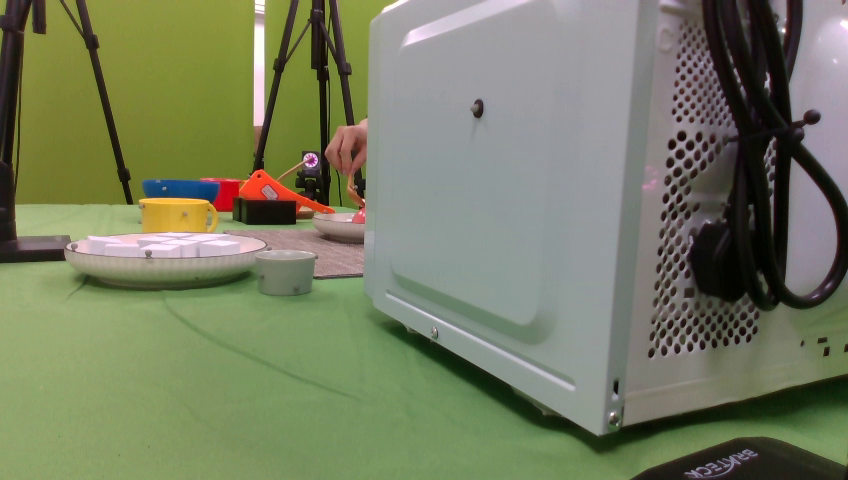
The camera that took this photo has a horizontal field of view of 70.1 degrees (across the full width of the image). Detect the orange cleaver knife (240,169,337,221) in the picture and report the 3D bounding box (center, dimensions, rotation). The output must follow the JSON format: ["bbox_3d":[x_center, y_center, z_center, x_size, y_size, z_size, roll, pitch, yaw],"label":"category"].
[{"bbox_3d":[-0.287,-0.081,1.298,0.212,0.077,0.012,25,-3,-31],"label":"orange cleaver knife"}]

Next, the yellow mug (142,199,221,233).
[{"bbox_3d":[-0.373,-0.030,0.948,0.099,0.064,0.131,6,7,30],"label":"yellow mug"}]

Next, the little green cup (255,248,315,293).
[{"bbox_3d":[-0.144,0.031,0.627,0.061,0.038,0.061,2,6,0],"label":"little green cup"}]

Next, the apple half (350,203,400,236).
[{"bbox_3d":[-0.081,-0.036,1.024,0.081,0.053,0.074,-2,10,-34],"label":"apple half"}]

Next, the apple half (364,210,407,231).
[{"bbox_3d":[-0.068,-0.037,1.103,0.081,0.033,0.081,-1,9,0],"label":"apple half"}]

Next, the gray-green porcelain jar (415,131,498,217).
[{"bbox_3d":[0.062,-0.112,1.073,0.106,0.126,0.106,-35,13,10],"label":"gray-green porcelain jar"}]

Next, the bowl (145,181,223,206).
[{"bbox_3d":[-0.499,-0.081,1.261,0.151,0.077,0.151,2,8,0],"label":"bowl"}]

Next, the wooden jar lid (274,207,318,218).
[{"bbox_3d":[-0.303,-0.065,1.409,0.108,0.020,0.108,3,9,0],"label":"wooden jar lid"}]

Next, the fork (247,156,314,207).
[{"bbox_3d":[-0.360,-0.147,1.523,0.207,0.018,0.028,-43,16,-7],"label":"fork"}]

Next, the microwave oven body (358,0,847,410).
[{"bbox_3d":[0.210,-0.051,0.471,0.444,0.260,0.324,-1,7,-28],"label":"microwave oven body"}]

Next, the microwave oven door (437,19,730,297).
[{"bbox_3d":[0.181,-0.076,0.618,0.358,0.243,0.039,-2,9,-28],"label":"microwave oven door"}]

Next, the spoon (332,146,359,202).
[{"bbox_3d":[-0.141,-0.125,1.119,0.021,0.042,0.193,-33,44,7],"label":"spoon"}]

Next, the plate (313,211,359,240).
[{"bbox_3d":[-0.090,-0.026,1.063,0.209,0.038,0.209,2,7,0],"label":"plate"}]

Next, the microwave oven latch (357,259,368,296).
[{"bbox_3d":[-0.019,0.031,0.528,0.079,0.029,0.030,-1,7,-25],"label":"microwave oven latch"}]

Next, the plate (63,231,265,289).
[{"bbox_3d":[-0.288,0.021,0.687,0.208,0.039,0.207,2,8,0],"label":"plate"}]
